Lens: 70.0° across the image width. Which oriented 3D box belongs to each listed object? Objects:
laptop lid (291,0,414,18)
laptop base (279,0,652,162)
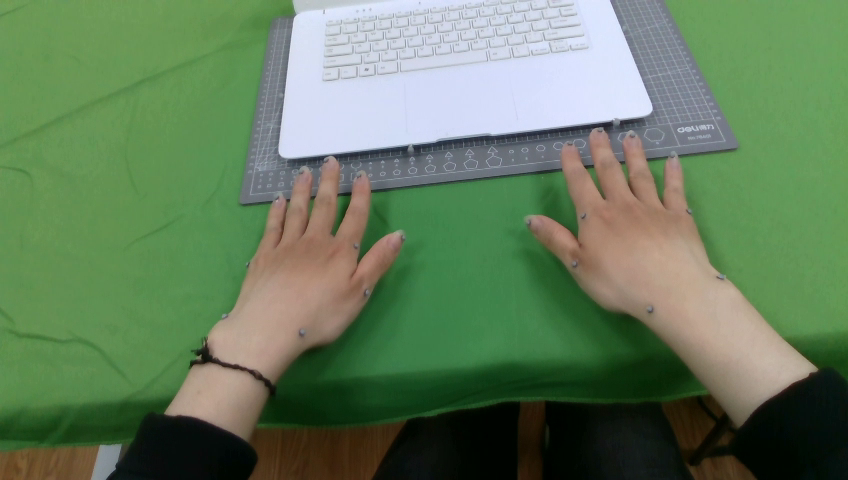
[{"bbox_3d":[0.009,-0.379,0.655,0.357,0.243,0.013,-8,25,3],"label":"laptop lid"},{"bbox_3d":[0.030,-0.182,0.635,0.354,0.023,0.233,-7,56,2],"label":"laptop base"}]
